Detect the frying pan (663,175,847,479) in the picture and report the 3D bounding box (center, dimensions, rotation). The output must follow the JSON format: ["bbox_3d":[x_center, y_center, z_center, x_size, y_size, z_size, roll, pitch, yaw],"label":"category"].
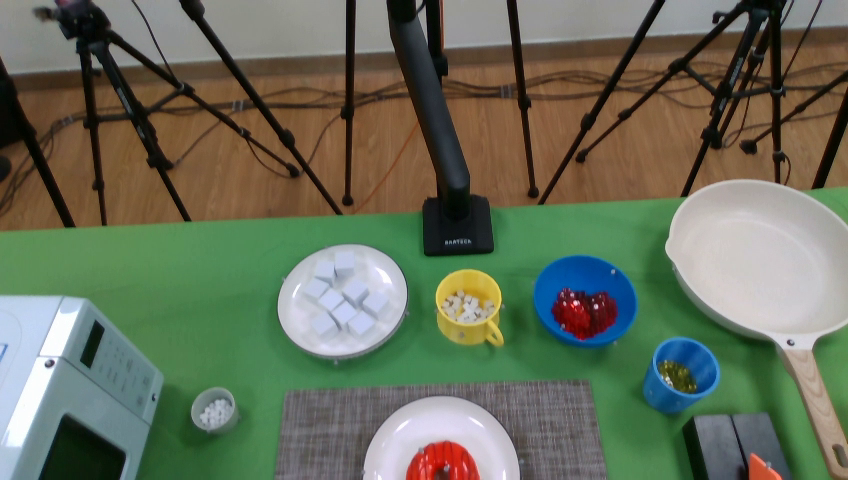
[{"bbox_3d":[0.518,0.104,0.884,0.306,0.104,0.483,1,48,5],"label":"frying pan"}]

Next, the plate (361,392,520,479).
[{"bbox_3d":[0.022,0.307,0.807,0.209,0.038,0.207,-1,56,2],"label":"plate"}]

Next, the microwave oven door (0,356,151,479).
[{"bbox_3d":[-0.416,0.338,0.667,0.039,0.246,0.352,0,55,3],"label":"microwave oven door"}]

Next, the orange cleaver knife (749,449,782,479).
[{"bbox_3d":[0.414,0.364,0.726,0.012,0.077,0.211,-3,85,1],"label":"orange cleaver knife"}]

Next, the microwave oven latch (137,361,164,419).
[{"bbox_3d":[-0.400,0.215,0.874,0.030,0.030,0.078,2,56,4],"label":"microwave oven latch"}]

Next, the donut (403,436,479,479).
[{"bbox_3d":[0.022,0.308,0.793,0.099,0.048,0.098,-2,59,4],"label":"donut"}]

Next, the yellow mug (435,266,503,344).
[{"bbox_3d":[0.077,0.109,0.928,0.100,0.064,0.129,-34,61,-19],"label":"yellow mug"}]

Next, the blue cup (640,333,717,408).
[{"bbox_3d":[0.343,0.188,0.838,0.092,0.101,0.092,-1,57,1],"label":"blue cup"}]

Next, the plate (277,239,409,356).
[{"bbox_3d":[-0.127,0.093,0.967,0.207,0.039,0.205,-1,56,2],"label":"plate"}]

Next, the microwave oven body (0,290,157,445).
[{"bbox_3d":[-0.560,0.306,0.703,0.326,0.262,0.437,0,56,3],"label":"microwave oven body"}]

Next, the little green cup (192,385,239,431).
[{"bbox_3d":[-0.297,0.243,0.870,0.061,0.039,0.061,-2,57,3],"label":"little green cup"}]

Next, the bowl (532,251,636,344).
[{"bbox_3d":[0.236,0.099,0.919,0.151,0.077,0.150,-1,56,2],"label":"bowl"}]
